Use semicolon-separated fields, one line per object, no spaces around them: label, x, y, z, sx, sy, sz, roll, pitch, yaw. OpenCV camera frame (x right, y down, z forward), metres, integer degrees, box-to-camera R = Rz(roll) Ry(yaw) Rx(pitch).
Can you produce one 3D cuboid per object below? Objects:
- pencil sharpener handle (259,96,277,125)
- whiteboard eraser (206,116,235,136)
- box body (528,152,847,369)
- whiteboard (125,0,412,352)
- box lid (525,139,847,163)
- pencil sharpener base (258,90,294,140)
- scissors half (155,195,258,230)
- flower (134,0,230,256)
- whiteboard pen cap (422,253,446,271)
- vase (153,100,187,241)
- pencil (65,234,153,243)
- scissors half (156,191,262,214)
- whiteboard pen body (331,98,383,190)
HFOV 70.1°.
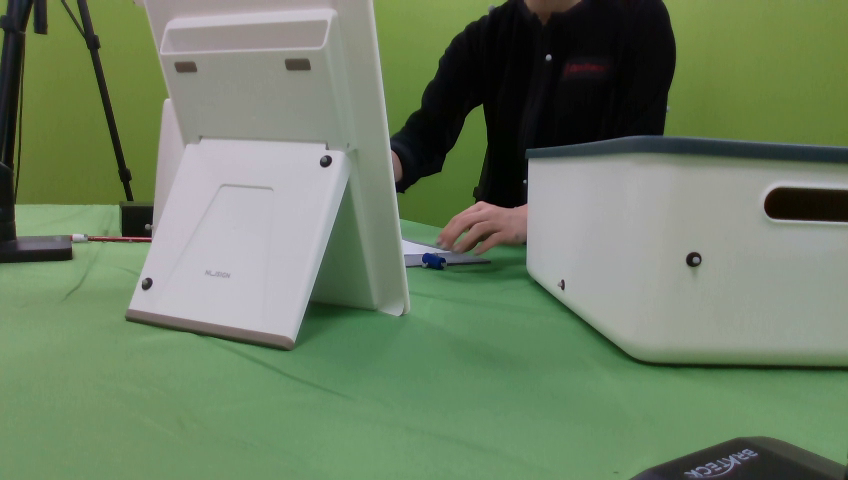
pencil sharpener handle;-0.373;-0.304;1.425;0.036;0.067;0.030;13;-1;-37
whiteboard eraser;-0.449;-0.251;1.335;0.056;0.042;0.112;1;7;-22
box body;0.258;-0.005;0.591;0.254;0.160;0.363;2;7;-4
whiteboard;-0.151;-0.049;0.472;0.216;0.305;0.144;6;27;24
box lid;0.261;-0.078;0.580;0.264;0.015;0.371;2;7;-4
pencil sharpener base;-0.341;-0.285;1.388;0.062;0.107;0.076;-3;9;-36
scissors half;-0.378;-0.051;1.058;0.176;0.040;0.012;20;22;-31
flower;-0.282;-0.146;0.713;0.038;0.362;0.044;-23;23;-31
whiteboard pen cap;0.013;0.029;0.807;0.018;0.018;0.033;-5;20;-44
vase;-0.278;-0.066;0.736;0.098;0.200;0.098;2;9;0
pencil;-0.429;0.000;0.911;0.195;0.012;0.012;2;7;-19
scissors half;-0.371;-0.068;1.051;0.176;0.040;0.013;2;25;-24
whiteboard pen body;-0.083;-0.122;0.765;0.017;0.140;0.017;-26;-15;-7
